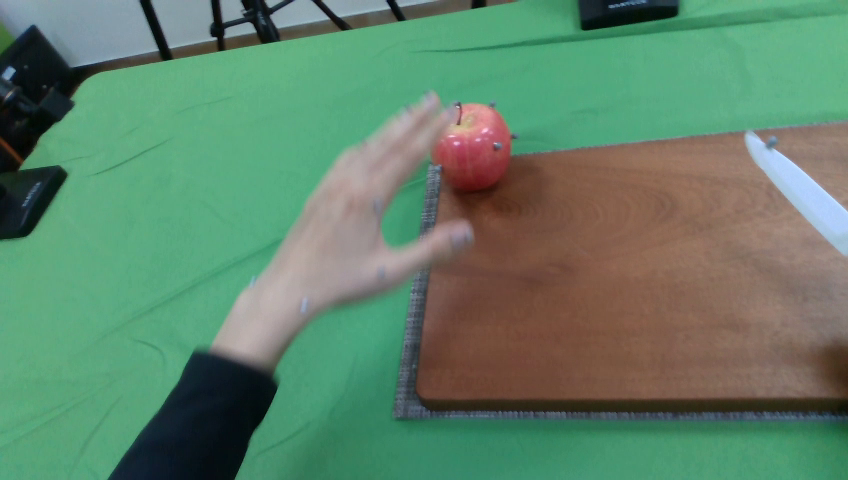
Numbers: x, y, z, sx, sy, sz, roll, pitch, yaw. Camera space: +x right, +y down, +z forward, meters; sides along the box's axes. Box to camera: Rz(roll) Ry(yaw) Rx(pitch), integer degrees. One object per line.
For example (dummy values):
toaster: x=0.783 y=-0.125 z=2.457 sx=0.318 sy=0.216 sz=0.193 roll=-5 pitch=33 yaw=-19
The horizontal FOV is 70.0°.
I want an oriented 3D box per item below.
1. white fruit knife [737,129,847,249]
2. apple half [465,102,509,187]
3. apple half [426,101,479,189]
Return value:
white fruit knife: x=0.282 y=0.000 z=0.394 sx=0.016 sy=0.027 sz=0.206 roll=-19 pitch=64 yaw=-44
apple half: x=0.066 y=-0.091 z=0.582 sx=0.032 sy=0.082 sz=0.080 roll=1 pitch=52 yaw=23
apple half: x=0.030 y=-0.092 z=0.596 sx=0.053 sy=0.075 sz=0.080 roll=2 pitch=54 yaw=23
